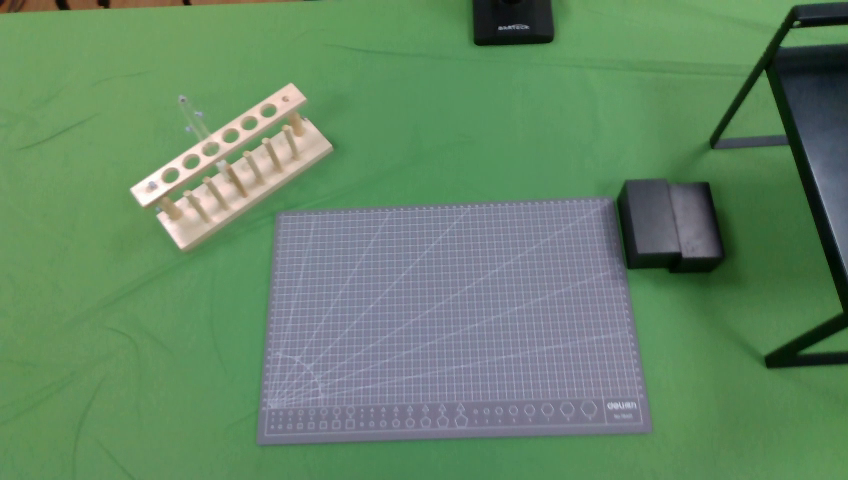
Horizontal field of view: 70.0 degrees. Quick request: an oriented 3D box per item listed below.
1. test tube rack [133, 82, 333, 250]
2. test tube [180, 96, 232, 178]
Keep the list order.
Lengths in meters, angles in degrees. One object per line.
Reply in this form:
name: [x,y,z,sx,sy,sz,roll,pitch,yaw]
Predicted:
test tube rack: [-0.243,-0.097,0.798,0.242,0.086,0.066,-38,69,-12]
test tube: [-0.267,-0.123,0.756,0.017,0.151,0.017,-1,61,3]
